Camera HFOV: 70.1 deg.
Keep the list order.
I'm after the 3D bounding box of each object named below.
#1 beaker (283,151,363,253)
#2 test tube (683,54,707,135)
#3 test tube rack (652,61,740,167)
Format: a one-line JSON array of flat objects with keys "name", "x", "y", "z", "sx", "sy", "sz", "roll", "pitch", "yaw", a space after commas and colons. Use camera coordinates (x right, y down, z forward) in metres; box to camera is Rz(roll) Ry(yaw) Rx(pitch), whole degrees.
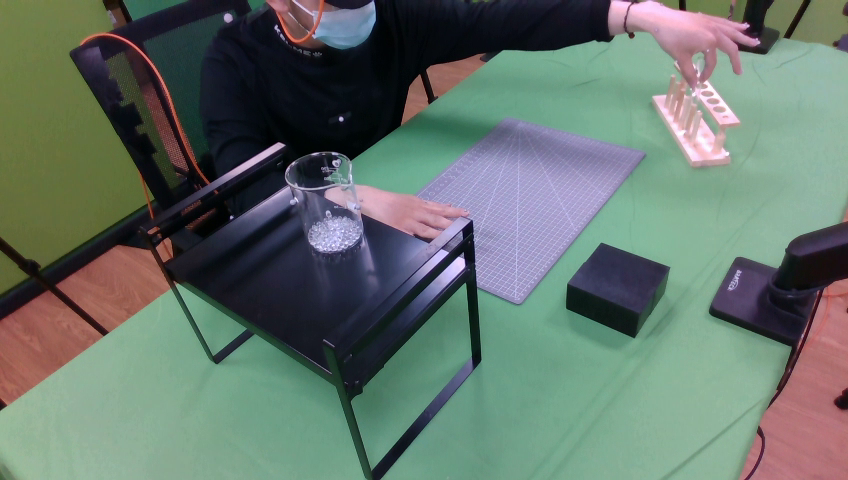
[{"name": "beaker", "x": -0.110, "y": -0.041, "z": 0.698, "sx": 0.083, "sy": 0.101, "sz": 0.074, "roll": 18, "pitch": 48, "yaw": 26}, {"name": "test tube", "x": 0.476, "y": -0.254, "z": 1.062, "sx": 0.017, "sy": 0.151, "sz": 0.017, "roll": -4, "pitch": 39, "yaw": 4}, {"name": "test tube rack", "x": 0.499, "y": -0.241, "z": 1.129, "sx": 0.067, "sy": 0.085, "sz": 0.241, "roll": -5, "pitch": 41, "yaw": 3}]
